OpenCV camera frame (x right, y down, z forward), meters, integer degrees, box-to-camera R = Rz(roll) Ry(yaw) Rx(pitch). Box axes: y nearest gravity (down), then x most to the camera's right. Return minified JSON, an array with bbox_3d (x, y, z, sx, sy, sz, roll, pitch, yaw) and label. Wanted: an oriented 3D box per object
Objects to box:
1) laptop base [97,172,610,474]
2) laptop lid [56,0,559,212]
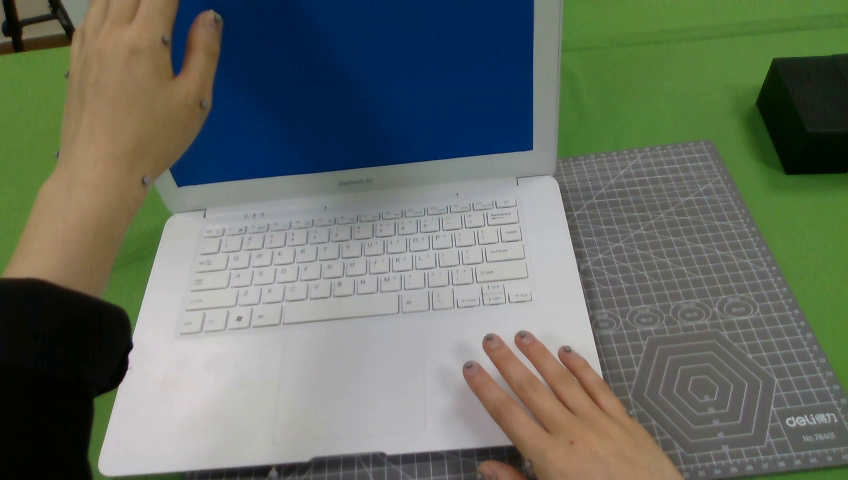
[{"bbox_3d":[-0.055,0.054,0.477,0.354,0.023,0.233,-6,55,3],"label":"laptop base"},{"bbox_3d":[-0.073,-0.126,0.469,0.356,0.244,0.013,-7,42,4],"label":"laptop lid"}]
